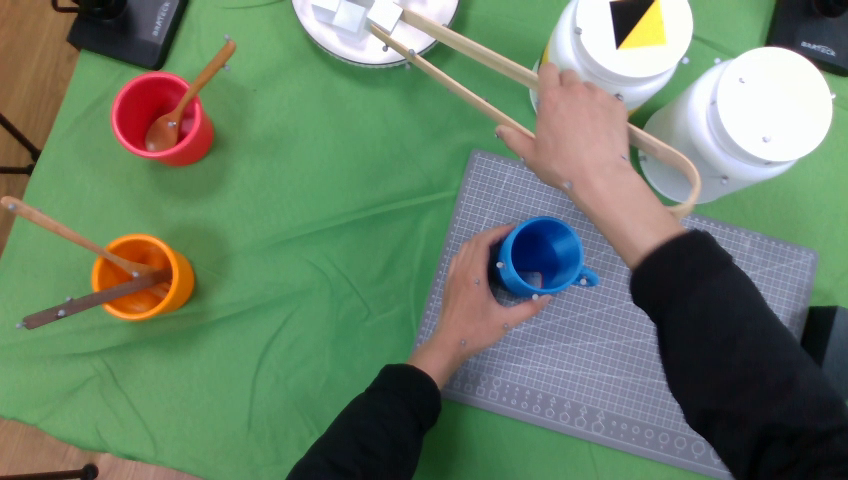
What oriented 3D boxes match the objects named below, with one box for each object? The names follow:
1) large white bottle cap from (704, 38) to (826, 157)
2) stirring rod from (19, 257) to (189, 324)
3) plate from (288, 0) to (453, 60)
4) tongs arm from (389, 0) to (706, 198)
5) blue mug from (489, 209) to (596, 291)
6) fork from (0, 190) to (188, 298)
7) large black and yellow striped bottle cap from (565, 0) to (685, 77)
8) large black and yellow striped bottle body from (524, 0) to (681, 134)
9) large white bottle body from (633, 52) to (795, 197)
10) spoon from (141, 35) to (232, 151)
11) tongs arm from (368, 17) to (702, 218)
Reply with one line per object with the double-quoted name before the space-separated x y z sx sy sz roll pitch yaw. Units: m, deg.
"large white bottle cap" 0.330 -0.138 0.585 0.115 0.018 0.114 0 84 -4
"stirring rod" -0.331 0.050 0.642 0.176 0.006 0.014 -25 88 -47
"plate" -0.064 -0.317 0.743 0.208 0.039 0.207 0 84 -3
"tongs arm" 0.104 -0.152 0.593 0.384 0.028 0.028 37 75 23
"blue mug" 0.136 0.021 0.682 0.116 0.106 0.082 22 83 -1
"fork" -0.342 0.008 0.639 0.209 0.018 0.028 41 79 -41
"large black and yellow striped bottle cap" 0.196 -0.216 0.588 0.115 0.019 0.114 0 85 -4
"large black and yellow striped bottle body" 0.192 -0.205 0.671 0.131 0.184 0.130 0 83 -3
"large white bottle body" 0.326 -0.127 0.670 0.131 0.185 0.130 0 84 -2
"spoon" -0.262 -0.158 0.664 0.193 0.022 0.041 -33 80 38
"tongs arm" 0.088 -0.134 0.589 0.051 0.027 0.381 -44 66 -9
